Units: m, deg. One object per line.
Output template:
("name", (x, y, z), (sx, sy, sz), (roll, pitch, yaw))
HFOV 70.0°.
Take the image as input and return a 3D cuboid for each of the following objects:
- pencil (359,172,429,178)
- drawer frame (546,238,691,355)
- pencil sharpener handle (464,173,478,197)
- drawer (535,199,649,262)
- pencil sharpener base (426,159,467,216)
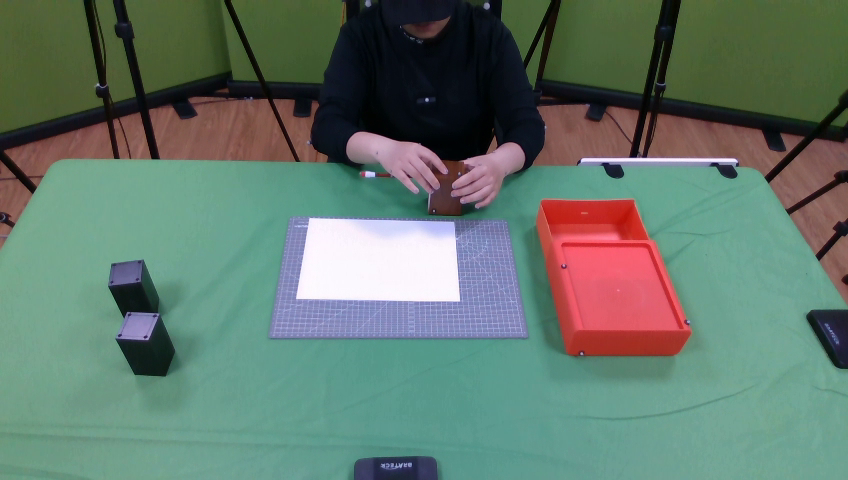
("pencil", (-0.033, -0.130, 1.225), (0.194, 0.012, 0.012), (1, 45, -2))
("drawer frame", (0.338, 0.097, 1.086), (0.202, 0.083, 0.212), (0, 46, -4))
("pencil sharpener handle", (0.098, -0.112, 1.239), (0.030, 0.068, 0.036), (4, 54, -2))
("drawer", (0.332, 0.015, 1.169), (0.195, 0.073, 0.210), (0, 46, -5))
("pencil sharpener base", (0.046, -0.105, 1.245), (0.077, 0.107, 0.061), (4, 45, -2))
